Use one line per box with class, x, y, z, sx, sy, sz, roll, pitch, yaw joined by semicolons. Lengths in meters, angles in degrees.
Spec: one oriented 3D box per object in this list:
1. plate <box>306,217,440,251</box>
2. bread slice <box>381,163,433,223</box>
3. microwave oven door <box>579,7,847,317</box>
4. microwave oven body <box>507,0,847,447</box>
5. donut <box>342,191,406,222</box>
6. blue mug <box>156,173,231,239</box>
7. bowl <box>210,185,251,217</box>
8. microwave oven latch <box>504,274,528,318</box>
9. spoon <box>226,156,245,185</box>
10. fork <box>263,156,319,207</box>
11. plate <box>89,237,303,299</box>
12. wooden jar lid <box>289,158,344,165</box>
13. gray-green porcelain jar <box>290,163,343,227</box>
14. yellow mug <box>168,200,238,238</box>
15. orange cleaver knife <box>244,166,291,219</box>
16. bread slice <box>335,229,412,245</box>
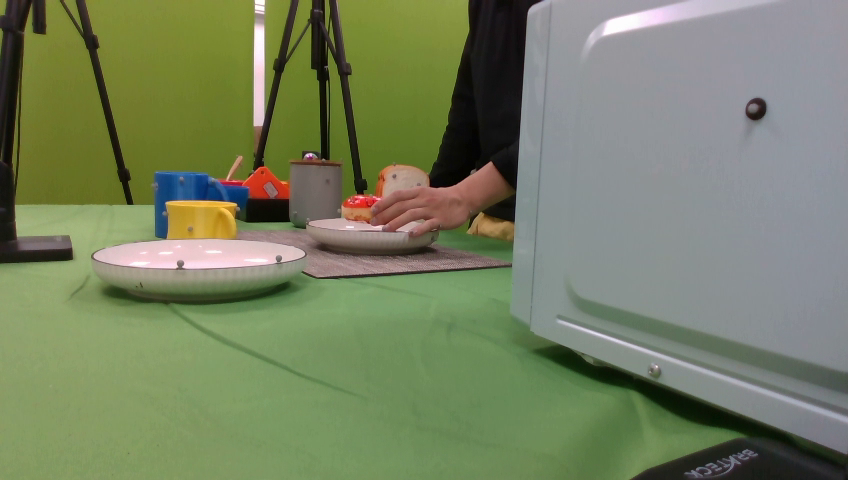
plate;-0.079;-0.010;0.949;0.209;0.038;0.209;2;6;0
bread slice;-0.035;-0.076;1.124;0.107;0.134;0.018;-3;1;-25
microwave oven door;0.294;-0.067;0.570;0.358;0.243;0.039;-3;9;-31
microwave oven body;0.331;-0.042;0.425;0.444;0.260;0.324;-2;8;-31
donut;-0.077;-0.051;0.935;0.099;0.048;0.099;3;6;0
blue mug;-0.381;-0.057;1.004;0.117;0.106;0.082;0;8;-12
bowl;-0.408;-0.064;1.155;0.151;0.077;0.151;2;8;0
microwave oven latch;0.100;0.041;0.471;0.079;0.029;0.030;-1;8;-28
spoon;-0.477;-0.145;1.492;0.041;0.022;0.193;-1;51;13
fork;-0.331;-0.144;1.505;0.207;0.018;0.028;-42;-21;22
plate;-0.233;0.029;0.637;0.208;0.039;0.207;2;7;0
wooden jar lid;-0.215;-0.152;1.212;0.108;0.020;0.108;2;5;0
gray-green porcelain jar;-0.217;-0.091;1.221;0.106;0.126;0.106;2;7;0
yellow mug;-0.320;-0.023;0.904;0.130;0.064;0.100;9;11;36
orange cleaver knife;-0.301;-0.089;1.351;0.212;0.077;0.012;32;-11;-34
bread slice;-0.074;-0.006;0.938;0.105;0.019;0.131;-1;4;-19
